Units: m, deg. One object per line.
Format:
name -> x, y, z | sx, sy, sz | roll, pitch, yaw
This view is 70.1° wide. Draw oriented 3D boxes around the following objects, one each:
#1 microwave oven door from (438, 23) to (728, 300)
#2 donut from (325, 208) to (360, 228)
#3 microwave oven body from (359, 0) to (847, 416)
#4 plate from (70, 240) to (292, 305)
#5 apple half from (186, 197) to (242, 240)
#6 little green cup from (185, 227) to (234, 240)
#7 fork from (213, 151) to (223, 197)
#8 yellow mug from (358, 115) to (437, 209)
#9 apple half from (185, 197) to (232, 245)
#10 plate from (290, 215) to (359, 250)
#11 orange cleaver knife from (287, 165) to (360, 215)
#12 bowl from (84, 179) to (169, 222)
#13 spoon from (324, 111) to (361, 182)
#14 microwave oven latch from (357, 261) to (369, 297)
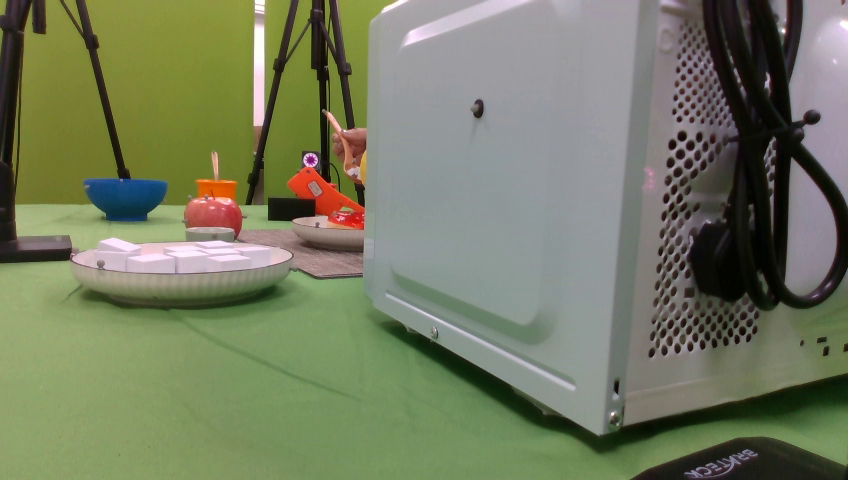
microwave oven door -> 0.181, -0.072, 0.621 | 0.358, 0.243, 0.039 | -2, 8, -29
donut -> -0.110, -0.025, 0.974 | 0.099, 0.048, 0.099 | 5, 8, 0
microwave oven body -> 0.211, -0.047, 0.474 | 0.444, 0.260, 0.324 | -1, 7, -28
plate -> -0.242, 0.031, 0.618 | 0.208, 0.039, 0.207 | 2, 8, 0
apple half -> -0.307, -0.026, 0.905 | 0.053, 0.074, 0.081 | 14, 10, 37
little green cup -> -0.285, 0.005, 0.805 | 0.061, 0.038, 0.061 | 2, 8, 0
fork -> -0.494, -0.143, 1.442 | 0.028, 0.018, 0.206 | -2, 52, -20
yellow mug -> -0.036, -0.118, 0.885 | 0.100, 0.131, 0.063 | -13, 33, -35
apple half -> -0.337, -0.031, 0.927 | 0.032, 0.081, 0.082 | 13, 12, 37
plate -> -0.110, -0.014, 0.973 | 0.209, 0.038, 0.209 | 3, 7, 0
orange cleaver knife -> -0.211, -0.093, 1.382 | 0.212, 0.077, 0.012 | 33, 1, -15
bowl -> -0.584, -0.078, 1.194 | 0.151, 0.077, 0.151 | 3, 8, 0
spoon -> -0.134, -0.158, 1.001 | 0.042, 0.021, 0.193 | 12, 41, -39
microwave oven latch -> -0.019, 0.033, 0.530 | 0.079, 0.029, 0.030 | -1, 7, -26
